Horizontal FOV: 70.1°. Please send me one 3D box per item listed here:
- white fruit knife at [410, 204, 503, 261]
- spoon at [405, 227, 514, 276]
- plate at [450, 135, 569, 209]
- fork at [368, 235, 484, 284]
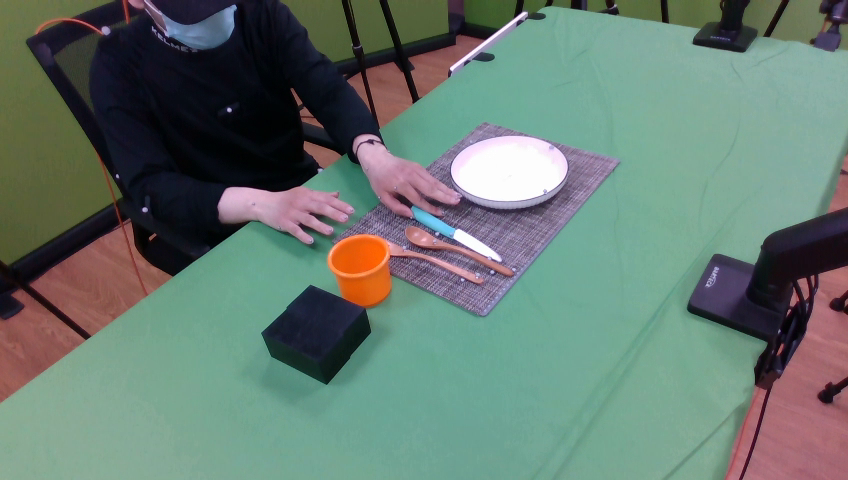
[{"bbox_3d":[0.048,-0.012,0.973,0.027,0.016,0.205,-35,46,-30],"label":"white fruit knife"},{"bbox_3d":[0.052,0.017,0.935,0.192,0.022,0.042,20,30,28],"label":"spoon"},{"bbox_3d":[0.150,-0.117,1.066,0.209,0.038,0.208,-4,41,4],"label":"plate"},{"bbox_3d":[0.001,0.030,0.930,0.206,0.019,0.028,18,40,29],"label":"fork"}]
